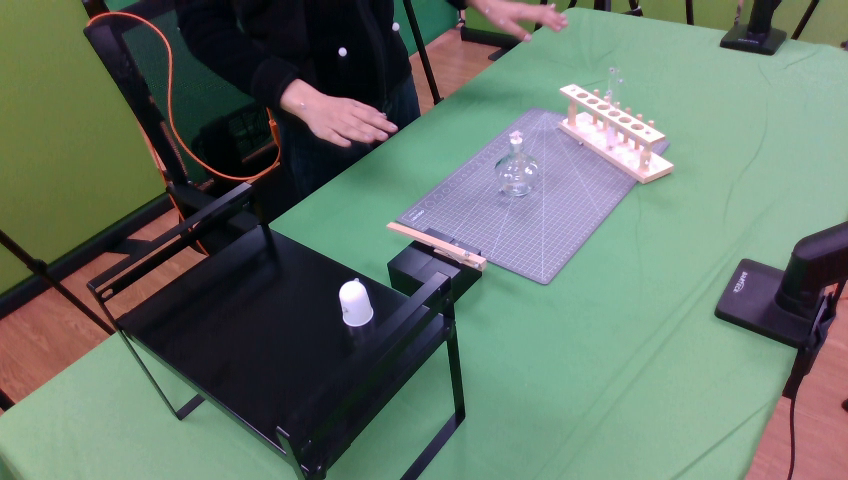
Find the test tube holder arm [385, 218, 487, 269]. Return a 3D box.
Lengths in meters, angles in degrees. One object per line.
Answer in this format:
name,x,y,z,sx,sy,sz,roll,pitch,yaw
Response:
test tube holder arm,0.014,0.003,0.888,0.177,0.013,0.015,26,40,28

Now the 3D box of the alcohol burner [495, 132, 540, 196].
alcohol burner,0.159,-0.135,1.035,0.078,0.119,0.077,-5,42,5

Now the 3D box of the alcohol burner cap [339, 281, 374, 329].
alcohol burner cap,-0.071,0.063,0.617,0.034,0.048,0.033,-4,39,4

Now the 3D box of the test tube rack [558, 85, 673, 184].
test tube rack,0.347,-0.203,1.109,0.067,0.085,0.240,-22,42,-17

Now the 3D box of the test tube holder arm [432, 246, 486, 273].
test tube holder arm,0.050,0.024,0.870,0.087,0.010,0.015,26,39,29

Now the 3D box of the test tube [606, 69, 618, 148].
test tube,0.330,-0.228,1.064,0.017,0.151,0.017,-7,39,6
